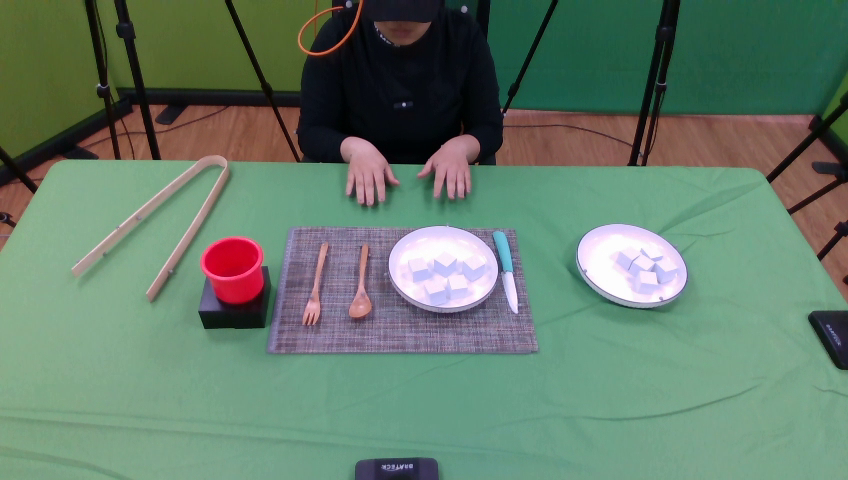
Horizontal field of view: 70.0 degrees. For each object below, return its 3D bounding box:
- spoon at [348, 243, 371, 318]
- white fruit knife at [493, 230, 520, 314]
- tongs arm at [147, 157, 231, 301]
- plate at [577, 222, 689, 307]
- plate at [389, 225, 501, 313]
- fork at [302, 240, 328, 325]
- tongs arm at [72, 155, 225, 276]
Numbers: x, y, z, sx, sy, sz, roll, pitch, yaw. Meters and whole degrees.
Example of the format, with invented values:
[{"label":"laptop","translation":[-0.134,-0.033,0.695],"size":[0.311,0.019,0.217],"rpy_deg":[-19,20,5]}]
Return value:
[{"label":"spoon","translation":[-0.113,0.070,1.115],"size":[0.041,0.022,0.192],"rpy_deg":[-11,46,10]},{"label":"white fruit knife","translation":[0.160,0.057,1.154],"size":[0.027,0.016,0.206],"rpy_deg":[-21,46,16]},{"label":"tongs arm","translation":[-0.454,-0.035,1.193],"size":[0.028,0.028,0.385],"rpy_deg":[6,46,6]},{"label":"plate","translation":[0.396,0.050,1.165],"size":[0.209,0.038,0.208],"rpy_deg":[2,47,-2]},{"label":"plate","translation":[0.038,0.057,1.128],"size":[0.208,0.039,0.206],"rpy_deg":[2,46,-2]},{"label":"fork","translation":[-0.195,0.074,1.108],"size":[0.028,0.019,0.206],"rpy_deg":[-1,48,4]},{"label":"tongs arm","translation":[-0.531,-0.058,1.205],"size":[0.050,0.026,0.383],"rpy_deg":[18,47,13]}]
